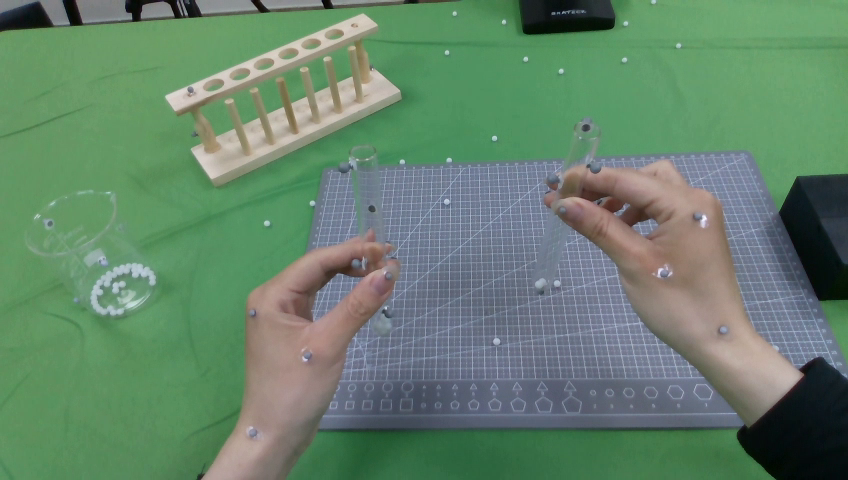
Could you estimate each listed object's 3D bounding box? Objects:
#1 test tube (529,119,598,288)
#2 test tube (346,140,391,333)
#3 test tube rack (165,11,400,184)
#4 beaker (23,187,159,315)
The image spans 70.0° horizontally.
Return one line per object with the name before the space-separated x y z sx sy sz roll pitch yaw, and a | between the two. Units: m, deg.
test tube | 0.087 -0.015 0.392 0.017 0.151 0.017 1 51 -1
test tube | -0.033 0.006 0.374 0.017 0.152 0.017 -1 41 1
test tube rack | -0.150 -0.164 0.684 0.242 0.086 0.066 -30 54 -18
beaker | -0.288 0.012 0.541 0.073 0.101 0.083 20 54 21
